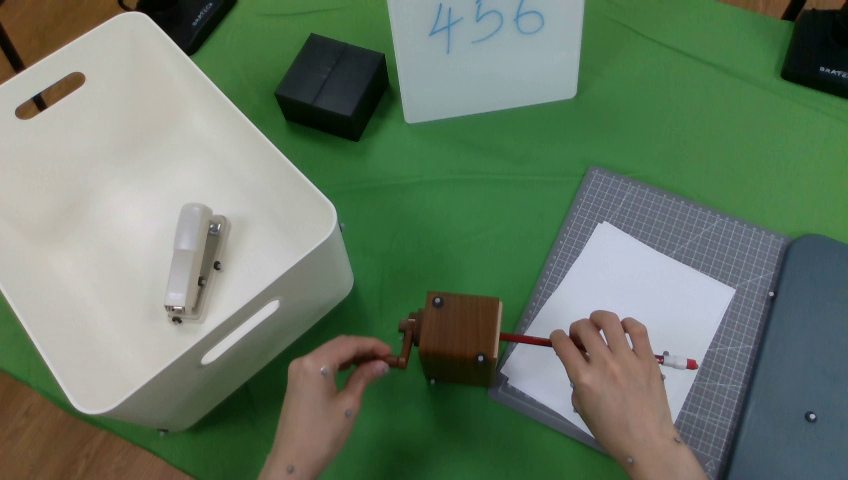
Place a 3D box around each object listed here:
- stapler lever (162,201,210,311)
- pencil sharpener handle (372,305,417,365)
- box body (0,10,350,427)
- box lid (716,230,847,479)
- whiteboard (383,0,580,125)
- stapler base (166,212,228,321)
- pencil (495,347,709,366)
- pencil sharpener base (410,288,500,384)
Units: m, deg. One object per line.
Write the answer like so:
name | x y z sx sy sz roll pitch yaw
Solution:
stapler lever | -0.252 0.014 0.640 0.027 0.040 0.117 3 68 7
pencil sharpener handle | -0.025 0.085 0.545 0.030 0.036 0.067 6 34 7
box body | -0.276 -0.023 0.617 0.254 0.161 0.361 -41 69 -15
box lid | 0.436 0.179 0.570 0.262 0.015 0.370 23 68 12
whiteboard | 0.057 -0.314 0.692 0.217 0.308 0.142 -8 45 0
stapler base | -0.251 0.023 0.664 0.041 0.024 0.129 3 67 7
pencil | 0.154 0.101 0.531 0.194 0.012 0.012 3 64 -2
pencil sharpener base | 0.030 0.093 0.578 0.076 0.108 0.061 6 66 7
